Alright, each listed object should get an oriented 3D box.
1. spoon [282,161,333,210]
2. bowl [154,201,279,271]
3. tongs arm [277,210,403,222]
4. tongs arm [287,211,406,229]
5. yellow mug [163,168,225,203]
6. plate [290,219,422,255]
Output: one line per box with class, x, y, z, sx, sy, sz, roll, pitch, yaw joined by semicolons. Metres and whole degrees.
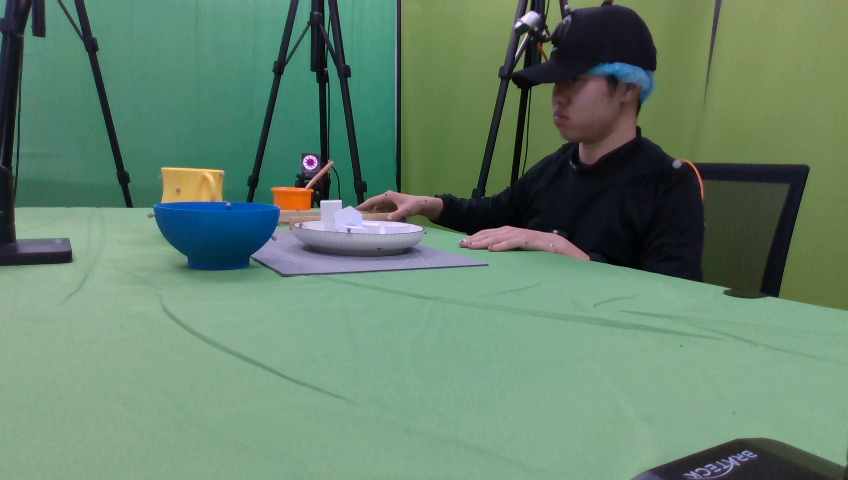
spoon;-0.262;-0.115;1.359;0.041;0.194;0.022;12;-33;38
bowl;-0.263;-0.005;0.773;0.151;0.077;0.151;3;8;0
tongs arm;-0.204;-0.053;1.332;0.387;0.026;0.050;-3;7;-45
tongs arm;-0.146;-0.044;1.282;0.028;0.028;0.389;1;4;33
yellow mug;-0.383;-0.087;1.026;0.130;0.064;0.100;11;11;44
plate;-0.108;-0.005;0.963;0.208;0.039;0.207;3;7;0
